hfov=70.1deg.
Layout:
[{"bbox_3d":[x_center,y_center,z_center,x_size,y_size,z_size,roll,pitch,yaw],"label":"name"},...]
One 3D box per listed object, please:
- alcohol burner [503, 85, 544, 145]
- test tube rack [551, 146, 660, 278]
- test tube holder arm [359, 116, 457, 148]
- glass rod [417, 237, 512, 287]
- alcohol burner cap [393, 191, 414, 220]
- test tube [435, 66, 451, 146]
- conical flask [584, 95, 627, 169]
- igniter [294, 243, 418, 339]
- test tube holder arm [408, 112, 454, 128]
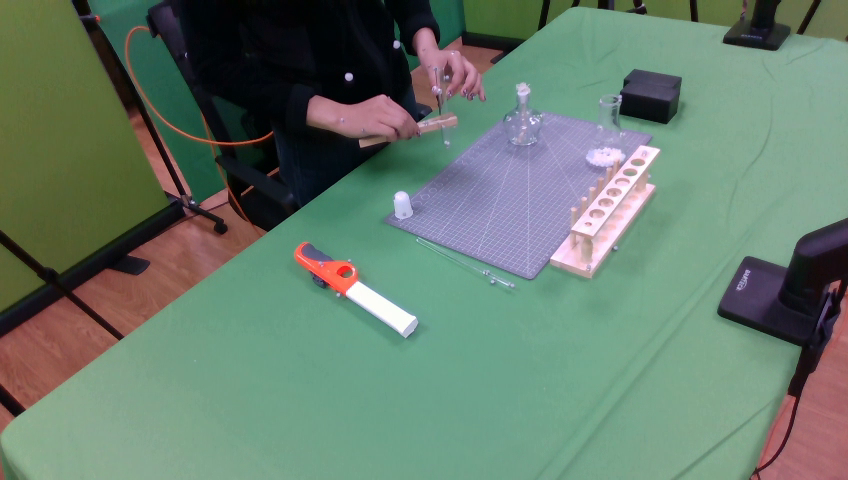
[{"bbox_3d":[0.191,-0.243,1.160,0.078,0.119,0.077,-4,40,4],"label":"alcohol burner"},{"bbox_3d":[0.286,-0.053,0.943,0.066,0.085,0.243,21,49,32],"label":"test tube rack"},{"bbox_3d":[-0.027,-0.190,1.056,0.179,0.015,0.013,-17,38,-11],"label":"test tube holder arm"},{"bbox_3d":[0.059,0.033,0.945,0.198,0.008,0.008,26,52,38],"label":"glass rod"},{"bbox_3d":[-0.037,-0.062,1.045,0.034,0.048,0.033,-5,41,5],"label":"alcohol burner cap"},{"bbox_3d":[0.034,-0.231,1.057,0.017,0.151,0.017,-5,39,4],"label":"test tube"},{"bbox_3d":[0.324,-0.192,1.066,0.075,0.122,0.075,-6,40,5],"label":"conical flask"},{"bbox_3d":[-0.114,0.070,0.919,0.274,0.025,0.057,29,63,37],"label":"igniter"},{"bbox_3d":[0.013,-0.207,1.070,0.088,0.015,0.010,-22,40,-17],"label":"test tube holder arm"}]
